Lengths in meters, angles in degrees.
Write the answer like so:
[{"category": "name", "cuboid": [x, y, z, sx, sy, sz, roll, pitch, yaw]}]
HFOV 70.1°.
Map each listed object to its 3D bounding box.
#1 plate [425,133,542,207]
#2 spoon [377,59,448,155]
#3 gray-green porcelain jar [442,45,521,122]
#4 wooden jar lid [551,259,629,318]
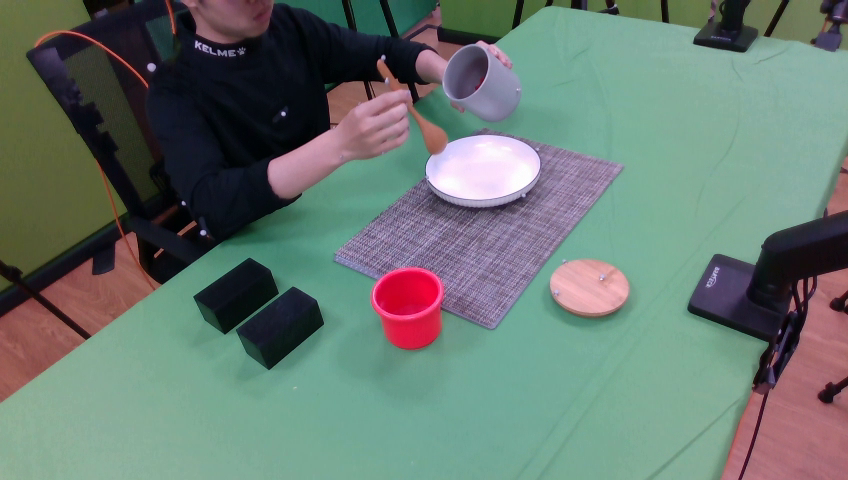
[{"category": "plate", "cuboid": [0.106, -0.122, 1.079, 0.207, 0.039, 0.206, -4, 41, 4]}, {"category": "spoon", "cuboid": [-0.017, -0.198, 0.916, 0.041, 0.195, 0.021, -47, 38, -5]}, {"category": "gray-green porcelain jar", "cuboid": [0.111, -0.283, 1.115, 0.105, 0.128, 0.105, -11, 72, 37]}, {"category": "wooden jar lid", "cuboid": [0.234, 0.070, 0.857, 0.108, 0.021, 0.108, -5, 40, 5]}]
